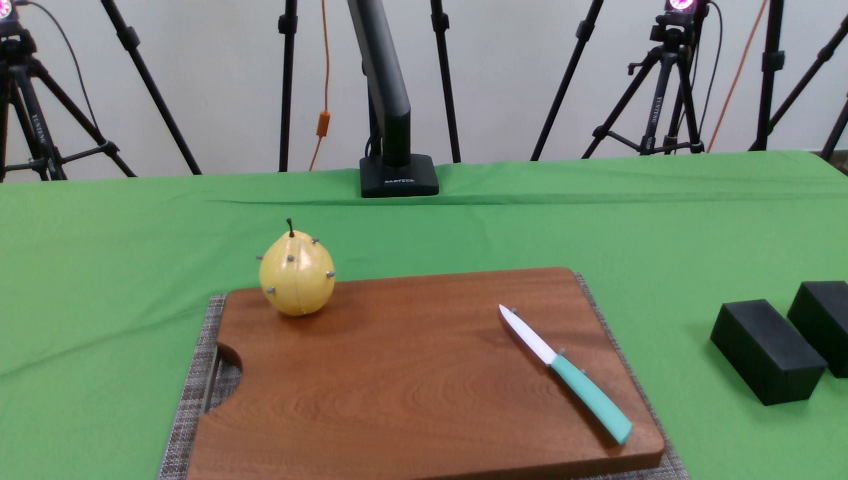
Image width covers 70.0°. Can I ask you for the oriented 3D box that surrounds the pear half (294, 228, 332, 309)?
[{"bbox_3d":[-0.113,0.029,0.637,0.031,0.088,0.070,1,27,1],"label":"pear half"}]

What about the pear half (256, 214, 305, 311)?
[{"bbox_3d":[-0.149,0.019,0.633,0.056,0.110,0.075,2,31,2],"label":"pear half"}]

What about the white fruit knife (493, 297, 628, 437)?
[{"bbox_3d":[0.125,0.112,0.587,0.027,0.016,0.205,-3,31,-30],"label":"white fruit knife"}]
